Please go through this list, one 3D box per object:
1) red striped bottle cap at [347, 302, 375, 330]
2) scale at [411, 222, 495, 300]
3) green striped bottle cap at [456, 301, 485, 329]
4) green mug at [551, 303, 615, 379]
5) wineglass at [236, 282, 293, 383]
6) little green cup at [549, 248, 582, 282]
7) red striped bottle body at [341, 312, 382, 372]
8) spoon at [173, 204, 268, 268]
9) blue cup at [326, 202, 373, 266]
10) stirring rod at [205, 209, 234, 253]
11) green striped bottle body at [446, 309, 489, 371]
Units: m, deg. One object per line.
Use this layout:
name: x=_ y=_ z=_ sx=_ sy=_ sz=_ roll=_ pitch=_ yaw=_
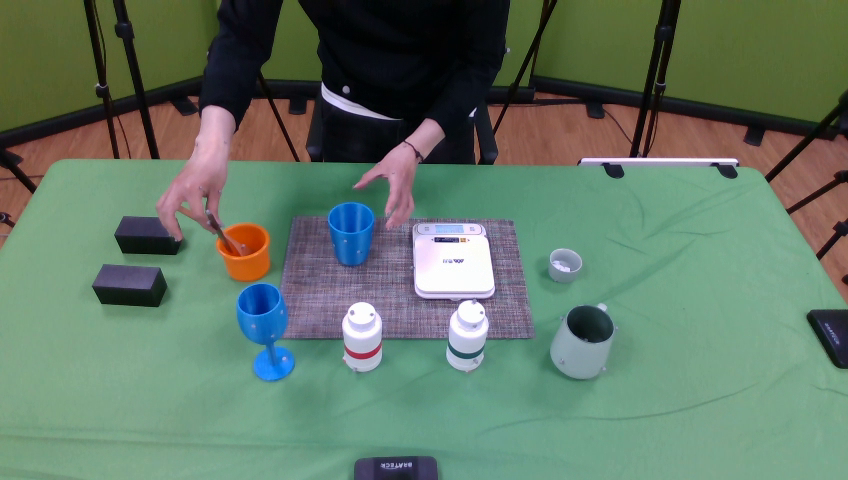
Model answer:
red striped bottle cap: x=-0.097 y=0.116 z=0.934 sx=0.044 sy=0.018 sz=0.044 roll=3 pitch=48 yaw=-3
scale: x=0.052 y=0.031 z=1.158 sx=0.149 sy=0.032 sz=0.199 roll=1 pitch=46 yaw=-4
green striped bottle cap: x=0.073 y=0.116 z=0.943 sx=0.044 sy=0.020 sz=0.044 roll=3 pitch=46 yaw=-3
green mug: x=0.271 y=0.157 z=1.007 sx=0.092 sy=0.105 sz=0.125 roll=27 pitch=50 yaw=21
wineglass: x=-0.243 y=0.143 z=0.934 sx=0.074 sy=0.173 sz=0.073 roll=2 pitch=46 yaw=-2
little green cup: x=0.268 y=0.050 z=1.156 sx=0.061 sy=0.039 sz=0.061 roll=1 pitch=46 yaw=-1
red striped bottle body: x=-0.100 y=0.154 z=0.972 sx=0.063 sy=0.120 sz=0.062 roll=2 pitch=46 yaw=-1
spoon: x=-0.362 y=-0.008 z=1.089 sx=0.021 sy=0.195 sz=0.041 roll=-33 pitch=32 yaw=26
blue cup: x=-0.139 y=-0.006 z=1.132 sx=0.093 sy=0.100 sz=0.092 roll=4 pitch=45 yaw=-3
stirring rod: x=-0.338 y=-0.012 z=1.006 sx=0.014 sy=0.176 sz=0.006 roll=32 pitch=69 yaw=7
green striped bottle body: x=0.070 y=0.155 z=0.984 sx=0.063 sy=0.120 sz=0.063 roll=2 pitch=46 yaw=-2
